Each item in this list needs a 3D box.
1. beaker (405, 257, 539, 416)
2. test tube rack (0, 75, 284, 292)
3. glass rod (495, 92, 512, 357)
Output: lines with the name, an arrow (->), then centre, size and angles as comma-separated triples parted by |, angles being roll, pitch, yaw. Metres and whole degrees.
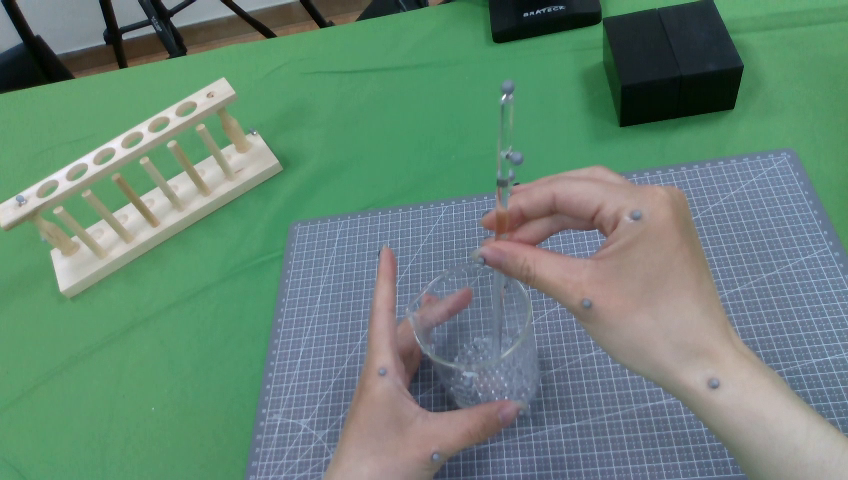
beaker -> 0.037, 0.070, 0.408 | 0.083, 0.101, 0.073 | 5, 56, 19
test tube rack -> -0.272, -0.057, 0.600 | 0.242, 0.086, 0.066 | -33, 53, -10
glass rod -> 0.044, 0.007, 0.335 | 0.008, 0.201, 0.008 | -3, 45, 3
